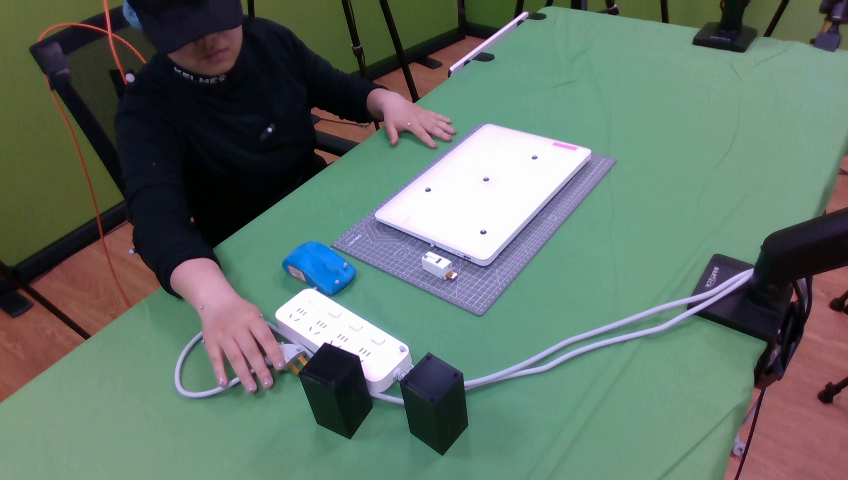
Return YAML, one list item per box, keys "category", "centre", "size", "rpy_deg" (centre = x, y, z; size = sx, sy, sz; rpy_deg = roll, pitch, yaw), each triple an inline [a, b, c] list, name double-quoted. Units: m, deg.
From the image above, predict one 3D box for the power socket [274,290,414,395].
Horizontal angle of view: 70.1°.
- category: "power socket"
  centre: [-0.114, 0.134, 0.820]
  size: [0.225, 0.033, 0.072]
  rpy_deg: [25, 49, 33]

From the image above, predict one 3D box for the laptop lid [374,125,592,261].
- category: "laptop lid"
  centre: [0.109, -0.101, 1.057]
  size: [0.239, 0.013, 0.358]
  rpy_deg: [23, 48, 34]

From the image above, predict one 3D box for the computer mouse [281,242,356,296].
- category: "computer mouse"
  centre: [-0.164, 0.041, 0.934]
  size: [0.116, 0.041, 0.063]
  rpy_deg: [27, 48, 28]

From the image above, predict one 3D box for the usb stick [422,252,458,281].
- category: "usb stick"
  centre: [0.025, 0.042, 0.908]
  size: [0.058, 0.027, 0.021]
  rpy_deg: [27, 49, 31]

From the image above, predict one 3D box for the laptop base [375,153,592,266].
- category: "laptop base"
  centre: [0.112, -0.091, 1.063]
  size: [0.233, 0.023, 0.355]
  rpy_deg: [21, 48, 34]

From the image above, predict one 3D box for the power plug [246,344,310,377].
- category: "power plug"
  centre: [-0.188, 0.169, 0.798]
  size: [0.072, 0.035, 0.052]
  rpy_deg: [-41, 70, -3]
